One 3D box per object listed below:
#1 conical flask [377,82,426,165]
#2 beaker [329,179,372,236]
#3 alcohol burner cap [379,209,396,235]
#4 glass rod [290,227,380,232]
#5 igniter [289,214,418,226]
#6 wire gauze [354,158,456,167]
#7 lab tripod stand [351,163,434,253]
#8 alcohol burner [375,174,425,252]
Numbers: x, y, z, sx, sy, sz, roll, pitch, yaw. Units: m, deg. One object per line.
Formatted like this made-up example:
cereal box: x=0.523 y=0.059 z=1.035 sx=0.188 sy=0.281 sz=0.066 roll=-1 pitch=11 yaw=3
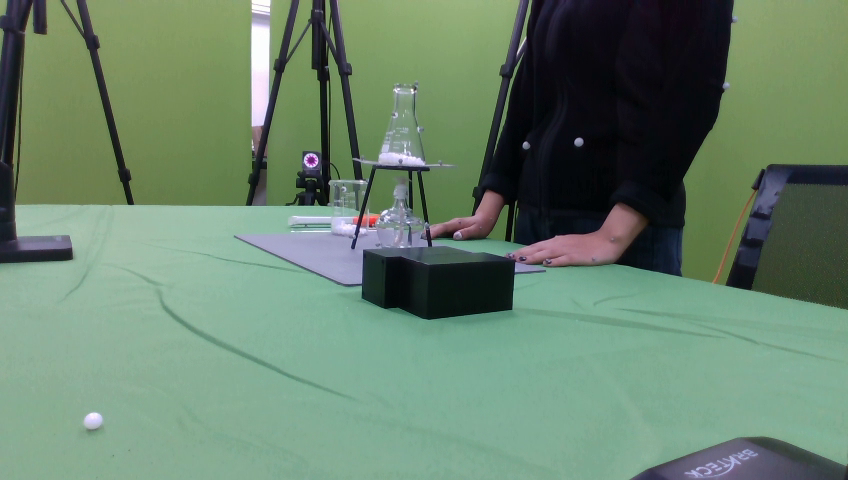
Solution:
conical flask: x=-0.032 y=-0.175 z=0.918 sx=0.075 sy=0.122 sz=0.075 roll=3 pitch=8 yaw=0
beaker: x=-0.137 y=-0.060 z=1.101 sx=0.084 sy=0.100 sz=0.074 roll=4 pitch=7 yaw=20
alcohol burner cap: x=-0.069 y=-0.036 z=1.154 sx=0.034 sy=0.048 sz=0.034 roll=3 pitch=8 yaw=0
glass rod: x=-0.161 y=-0.022 z=1.177 sx=0.201 sy=0.008 sz=0.008 roll=-2 pitch=8 yaw=-28
igniter: x=-0.141 y=-0.042 z=1.258 sx=0.278 sy=0.025 sz=0.057 roll=-1 pitch=-2 yaw=-30
wire gauze: x=-0.030 y=-0.117 z=0.927 sx=0.122 sy=0.011 sz=0.124 roll=0 pitch=5 yaw=-36
lab tripod stand: x=-0.034 y=-0.052 z=0.933 sx=0.148 sy=0.131 sz=0.148 roll=4 pitch=7 yaw=0
alcohol burner: x=-0.036 y=-0.042 z=0.934 sx=0.078 sy=0.119 sz=0.078 roll=1 pitch=9 yaw=0
